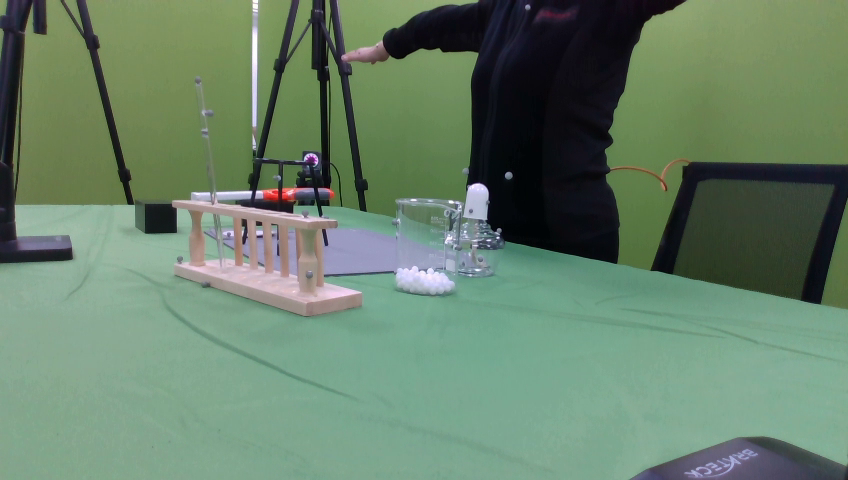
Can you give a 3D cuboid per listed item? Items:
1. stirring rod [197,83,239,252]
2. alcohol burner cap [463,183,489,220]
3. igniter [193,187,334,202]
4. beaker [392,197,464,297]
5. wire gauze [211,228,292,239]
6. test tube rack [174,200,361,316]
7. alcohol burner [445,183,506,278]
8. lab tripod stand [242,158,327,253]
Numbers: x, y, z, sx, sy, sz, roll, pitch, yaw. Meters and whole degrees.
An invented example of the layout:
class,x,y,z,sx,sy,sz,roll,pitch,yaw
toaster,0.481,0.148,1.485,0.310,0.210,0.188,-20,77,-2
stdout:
class,x,y,z,sx,sy,sz,roll,pitch,yaw
stirring rod,-0.212,-0.072,0.625,0.006,0.176,0.014,-14,12,-22
alcohol burner cap,0.067,-0.049,0.765,0.034,0.048,0.034,4,5,0
igniter,-0.316,-0.090,1.213,0.278,0.025,0.057,-5,13,-31
beaker,0.005,0.007,0.647,0.074,0.100,0.083,-5,11,-44
wire gauze,-0.298,-0.013,1.039,0.122,0.011,0.124,-2,6,-27
test tube rack,-0.169,0.009,0.622,0.241,0.085,0.067,9,9,41
alcohol burner,0.066,-0.013,0.771,0.078,0.119,0.078,0,7,0
lab tripod stand,-0.207,-0.054,0.895,0.148,0.131,0.148,2,5,0
